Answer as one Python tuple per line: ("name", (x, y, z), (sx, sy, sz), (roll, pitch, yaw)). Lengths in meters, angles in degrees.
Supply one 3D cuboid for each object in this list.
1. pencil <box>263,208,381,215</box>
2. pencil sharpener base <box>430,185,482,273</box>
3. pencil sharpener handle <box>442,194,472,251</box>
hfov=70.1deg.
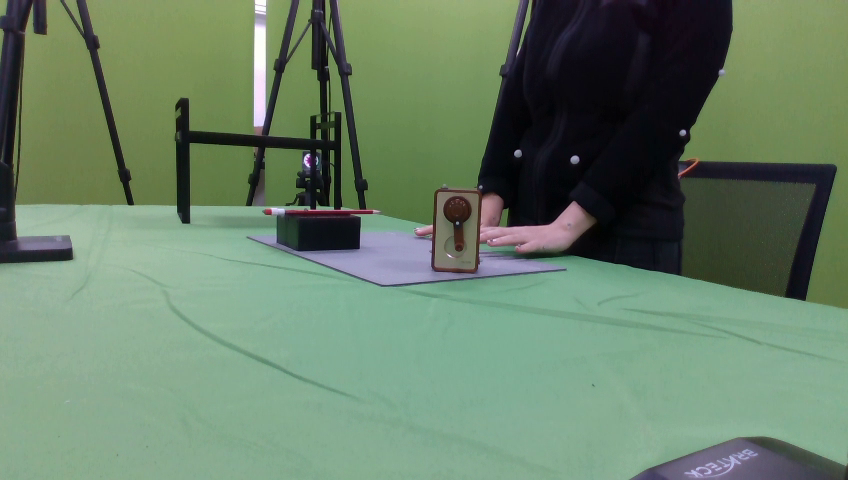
("pencil", (-0.153, -0.045, 0.941), (0.195, 0.012, 0.012), (-2, 9, -32))
("pencil sharpener base", (0.042, -0.016, 0.784), (0.061, 0.107, 0.076), (3, 8, 3))
("pencil sharpener handle", (0.041, -0.021, 0.731), (0.036, 0.067, 0.030), (-5, 7, 4))
